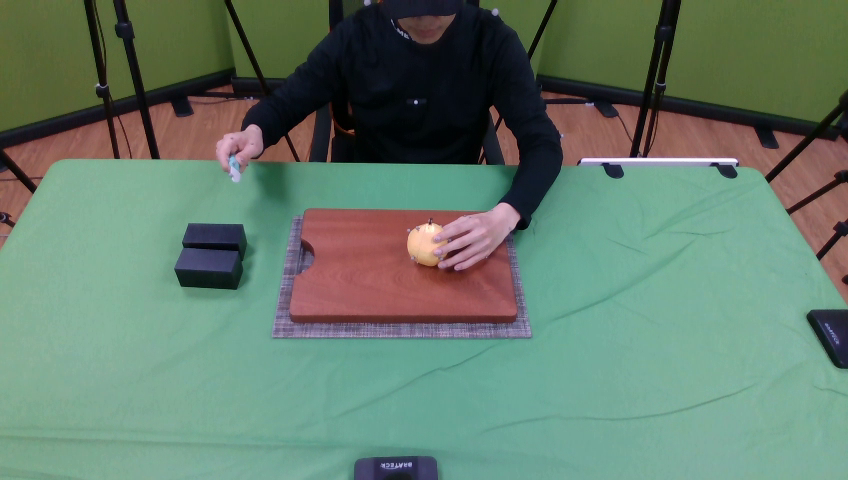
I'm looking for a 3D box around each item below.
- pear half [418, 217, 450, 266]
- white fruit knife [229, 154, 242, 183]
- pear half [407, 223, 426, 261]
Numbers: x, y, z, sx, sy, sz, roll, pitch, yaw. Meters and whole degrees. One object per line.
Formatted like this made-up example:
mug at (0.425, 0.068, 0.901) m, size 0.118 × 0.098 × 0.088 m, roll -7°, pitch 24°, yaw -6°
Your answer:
pear half at (0.021, -0.001, 1.096) m, size 0.056 × 0.110 × 0.076 m, roll 8°, pitch 52°, yaw 3°
white fruit knife at (-0.340, -0.129, 1.093) m, size 0.016 × 0.027 × 0.206 m, roll -44°, pitch 25°, yaw 1°
pear half at (-0.016, -0.001, 1.107) m, size 0.031 × 0.088 × 0.070 m, roll 7°, pitch 54°, yaw 1°
